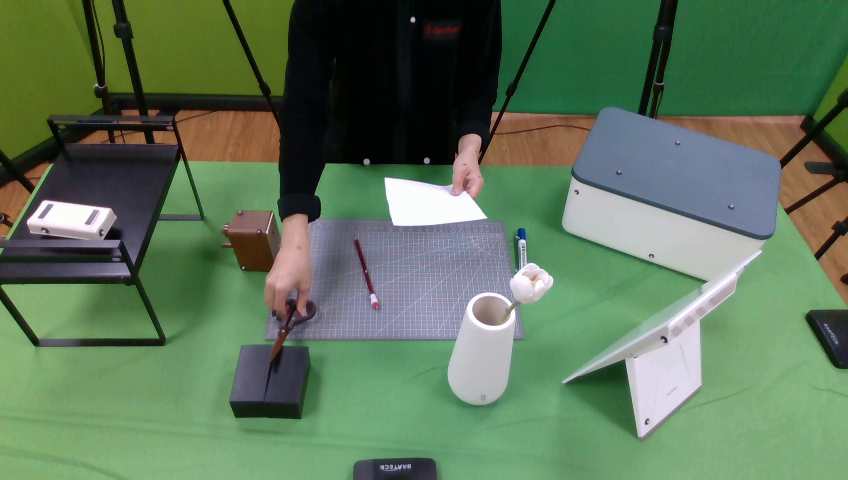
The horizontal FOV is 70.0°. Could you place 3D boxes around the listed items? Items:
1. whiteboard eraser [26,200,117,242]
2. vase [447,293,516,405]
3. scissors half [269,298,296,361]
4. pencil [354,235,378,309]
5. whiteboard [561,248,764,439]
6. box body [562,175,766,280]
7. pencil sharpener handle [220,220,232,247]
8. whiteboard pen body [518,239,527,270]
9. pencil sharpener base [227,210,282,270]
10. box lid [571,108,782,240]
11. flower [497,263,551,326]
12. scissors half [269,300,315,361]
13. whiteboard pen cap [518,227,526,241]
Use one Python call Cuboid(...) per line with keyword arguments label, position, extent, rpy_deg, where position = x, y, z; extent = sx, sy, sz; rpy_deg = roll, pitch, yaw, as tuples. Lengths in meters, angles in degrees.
Cuboid(label="whiteboard eraser", position=(-0.532, -0.026, 0.919), extent=(0.113, 0.042, 0.055), rpy_deg=(7, 45, 3))
Cuboid(label="vase", position=(0.091, 0.169, 0.921), extent=(0.098, 0.201, 0.097), rpy_deg=(3, 47, -3))
Cuboid(label="scissors half", position=(-0.240, 0.146, 1.003), extent=(0.040, 0.013, 0.174), rpy_deg=(3, 26, -7))
Cuboid(label="pencil", position=(-0.112, 0.055, 1.143), extent=(0.012, 0.012, 0.192), rpy_deg=(-9, 46, -13))
Cuboid(label="whiteboard", position=(0.386, 0.176, 0.905), extent=(0.217, 0.306, 0.143), rpy_deg=(-26, 72, -27))
Cuboid(label="box body", position=(0.486, -0.088, 1.222), extent=(0.363, 0.161, 0.253), rpy_deg=(20, 48, 15))
Cuboid(label="pencil sharpener handle", position=(-0.362, -0.009, 1.105), extent=(0.030, 0.068, 0.036), rpy_deg=(1, 52, 1))
Cuboid(label="whiteboard pen body", position=(0.193, 0.035, 1.180), extent=(0.017, 0.017, 0.140), rpy_deg=(6, 48, 1))
Cuboid(label="pencil sharpener base", position=(-0.311, 0.001, 1.112), extent=(0.077, 0.107, 0.061), rpy_deg=(1, 47, 1))
Cuboid(label="box lid", position=(0.491, -0.139, 1.168), extent=(0.370, 0.015, 0.262), rpy_deg=(21, 49, 15))
Cuboid(label="flower", position=(0.103, 0.121, 0.852), extent=(0.044, 0.363, 0.038), rpy_deg=(-2, 64, -10))
Cuboid(label="scissors half", position=(-0.220, 0.147, 1.003), extent=(0.040, 0.013, 0.174), rpy_deg=(6, 26, 10))
Cuboid(label="whiteboard pen cap", position=(0.197, -0.009, 1.219), extent=(0.018, 0.018, 0.033), rpy_deg=(6, 52, 2))
